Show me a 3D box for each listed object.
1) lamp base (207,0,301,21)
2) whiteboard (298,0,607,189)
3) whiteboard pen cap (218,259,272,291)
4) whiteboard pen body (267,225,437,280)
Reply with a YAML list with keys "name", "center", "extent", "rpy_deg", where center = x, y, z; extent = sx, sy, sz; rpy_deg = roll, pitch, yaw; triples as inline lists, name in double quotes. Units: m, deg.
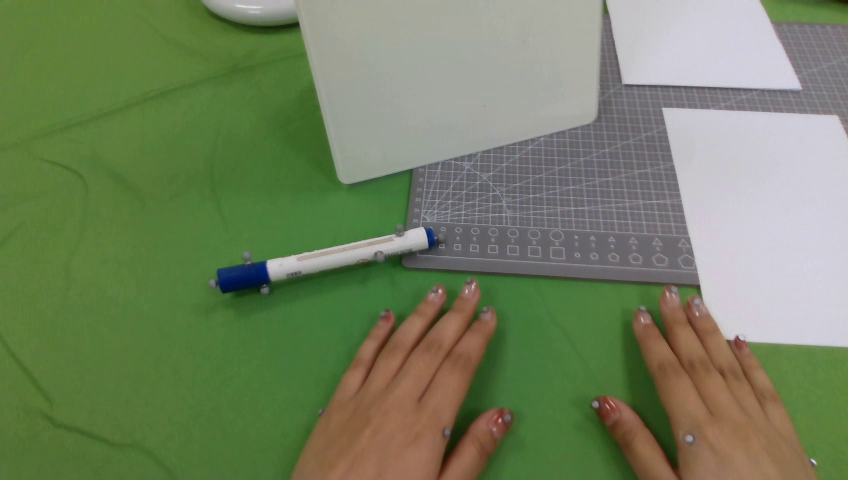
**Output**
- name: "lamp base"
  center: [-0.155, -0.323, 0.550]
  extent: [0.160, 0.182, 0.177]
  rpy_deg: [-38, 60, -23]
- name: "whiteboard"
  center: [0.005, -0.225, 0.438]
  extent: [0.217, 0.308, 0.142]
  rpy_deg: [-15, 36, -8]
- name: "whiteboard pen cap"
  center: [-0.117, 0.022, 0.400]
  extent: [0.033, 0.018, 0.018]
  rpy_deg: [-12, 55, -12]
- name: "whiteboard pen body"
  center: [-0.060, 0.011, 0.410]
  extent: [0.141, 0.017, 0.017]
  rpy_deg: [-12, 55, -9]
